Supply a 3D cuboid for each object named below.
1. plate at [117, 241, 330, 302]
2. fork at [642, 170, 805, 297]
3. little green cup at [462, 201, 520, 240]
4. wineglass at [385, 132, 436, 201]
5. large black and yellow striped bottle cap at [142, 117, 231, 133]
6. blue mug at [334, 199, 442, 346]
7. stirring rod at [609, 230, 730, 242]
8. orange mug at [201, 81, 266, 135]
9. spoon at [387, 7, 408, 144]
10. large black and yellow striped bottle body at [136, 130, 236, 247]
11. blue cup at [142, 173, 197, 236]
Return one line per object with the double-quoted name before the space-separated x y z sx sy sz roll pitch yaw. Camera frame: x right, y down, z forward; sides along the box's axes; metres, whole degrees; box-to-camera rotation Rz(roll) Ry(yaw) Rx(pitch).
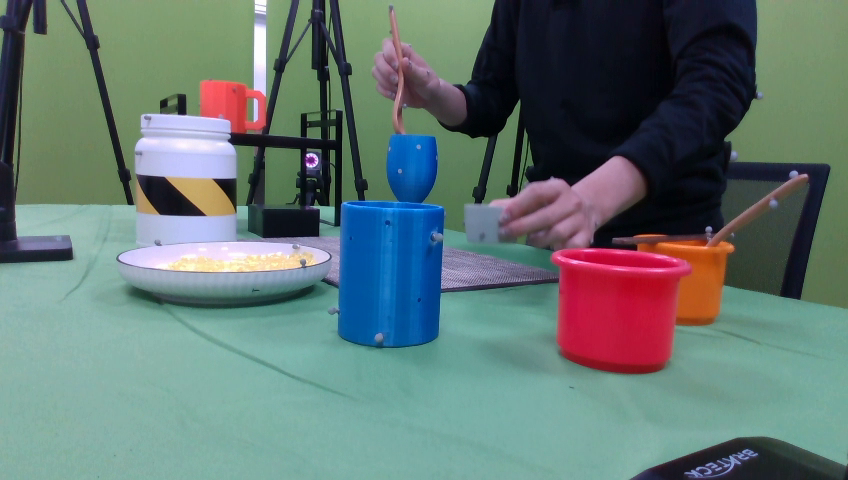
"plate" -0.203 0.031 0.630 0.209 0.038 0.209 3 7 0
"fork" 0.261 0.003 0.545 0.028 0.018 0.207 5 -37 -15
"little green cup" 0.070 -0.021 0.636 0.061 0.038 0.061 2 6 0
"wineglass" -0.020 -0.061 0.838 0.074 0.172 0.073 2 7 0
"large black and yellow striped bottle cap" -0.328 -0.159 0.839 0.115 0.019 0.115 1 9 0
"blue mug" -0.034 0.020 0.498 0.083 0.106 0.116 0 7 -20
"stirring rod" 0.241 -0.005 0.582 0.177 0.006 0.014 -3 11 -33
"orange mug" -0.376 -0.260 1.198 0.126 0.101 0.083 -3 8 -6
"spoon" -0.037 -0.228 0.836 0.021 0.193 0.042 -3 -4 13
"large black and yellow striped bottle body" -0.332 -0.076 0.851 0.131 0.184 0.130 3 8 0
"blue cup" -0.425 -0.060 1.014 0.093 0.100 0.092 3 9 0
